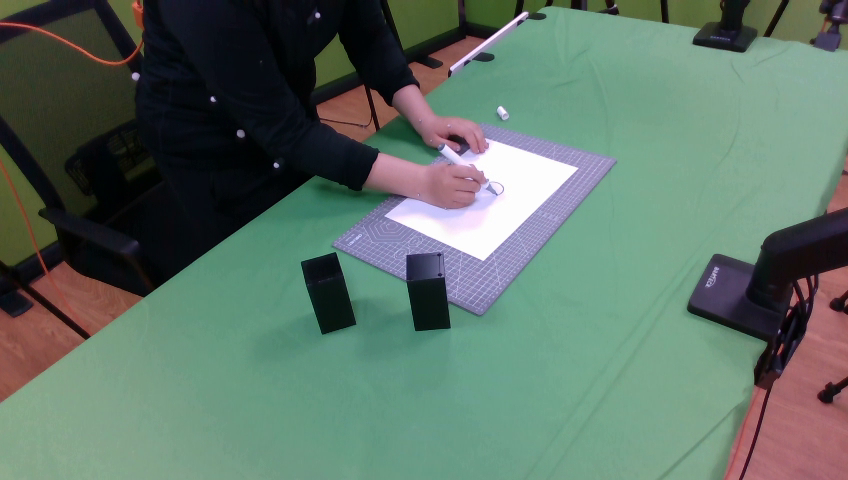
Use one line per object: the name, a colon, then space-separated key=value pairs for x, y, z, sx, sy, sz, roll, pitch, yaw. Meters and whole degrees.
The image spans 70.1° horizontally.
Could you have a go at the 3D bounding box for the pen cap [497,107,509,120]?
pen cap: x=0.164 y=-0.264 z=1.262 sx=0.017 sy=0.017 sz=0.038 roll=-14 pitch=41 yaw=-7

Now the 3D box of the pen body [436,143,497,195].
pen body: x=0.075 y=-0.115 z=1.020 sx=0.017 sy=0.145 sz=0.017 roll=-37 pitch=33 yaw=30
